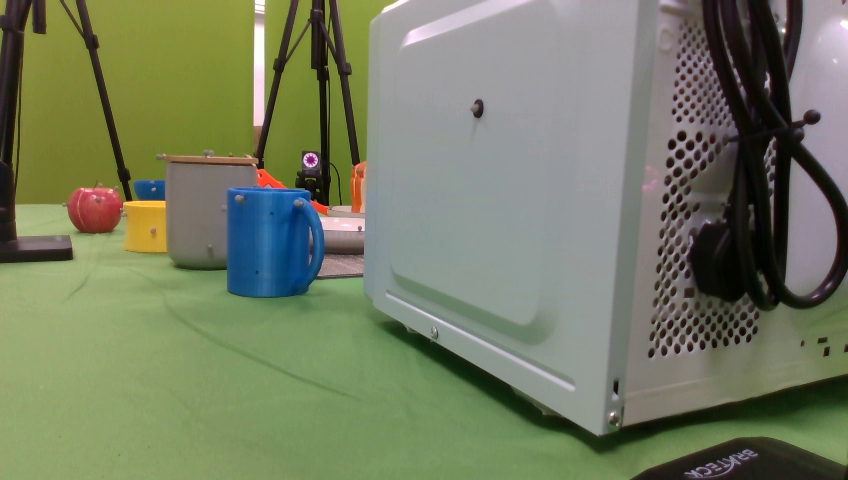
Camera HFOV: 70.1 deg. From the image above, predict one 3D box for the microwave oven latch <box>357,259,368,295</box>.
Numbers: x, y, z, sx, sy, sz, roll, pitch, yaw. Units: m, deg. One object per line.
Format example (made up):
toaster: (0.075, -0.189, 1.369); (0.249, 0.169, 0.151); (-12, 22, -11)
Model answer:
microwave oven latch: (-0.019, 0.031, 0.530); (0.079, 0.029, 0.030); (-1, 7, -27)

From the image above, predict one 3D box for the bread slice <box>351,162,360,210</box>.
bread slice: (-0.107, -0.112, 1.328); (0.107, 0.134, 0.018); (0, -2, -27)

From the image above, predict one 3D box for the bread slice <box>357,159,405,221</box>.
bread slice: (-0.090, -0.105, 1.277); (0.105, 0.131, 0.019); (0, 0, -23)

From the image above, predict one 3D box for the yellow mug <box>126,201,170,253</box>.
yellow mug: (-0.360, -0.019, 0.866); (0.130, 0.064, 0.100); (6, 9, 27)

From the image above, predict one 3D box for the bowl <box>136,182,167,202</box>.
bowl: (-0.497, -0.076, 1.221); (0.151, 0.077, 0.151); (2, 8, 0)

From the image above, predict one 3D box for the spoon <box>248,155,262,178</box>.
spoon: (-0.417, -0.150, 1.543); (0.042, 0.193, 0.021); (-3, -35, -34)

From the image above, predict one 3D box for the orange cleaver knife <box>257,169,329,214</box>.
orange cleaver knife: (-0.286, -0.082, 1.300); (0.212, 0.077, 0.012); (26, -6, -31)

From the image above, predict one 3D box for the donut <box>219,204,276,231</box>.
donut: (-0.316, -0.039, 1.083); (0.099, 0.048, 0.099); (2, 7, 0)

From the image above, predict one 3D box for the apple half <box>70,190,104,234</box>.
apple half: (-0.552, -0.047, 1.010); (0.053, 0.074, 0.081); (0, 10, 26)

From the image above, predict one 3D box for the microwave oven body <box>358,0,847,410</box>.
microwave oven body: (0.210, -0.051, 0.471); (0.444, 0.260, 0.324); (-1, 7, -28)

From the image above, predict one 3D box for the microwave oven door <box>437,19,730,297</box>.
microwave oven door: (0.181, -0.076, 0.618); (0.358, 0.243, 0.039); (-2, 8, -28)

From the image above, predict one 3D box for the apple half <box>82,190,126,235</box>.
apple half: (-0.516, -0.046, 0.994); (0.032, 0.081, 0.081); (0, 6, 26)

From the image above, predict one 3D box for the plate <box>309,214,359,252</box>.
plate: (-0.130, -0.011, 0.945); (0.208, 0.039, 0.207); (2, 8, 0)

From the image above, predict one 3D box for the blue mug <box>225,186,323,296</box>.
blue mug: (-0.148, 0.000, 0.618); (0.116, 0.106, 0.083); (7, 9, 33)

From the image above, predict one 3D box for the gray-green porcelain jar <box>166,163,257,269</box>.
gray-green porcelain jar: (-0.263, -0.031, 0.754); (0.106, 0.126, 0.106); (2, 7, 0)

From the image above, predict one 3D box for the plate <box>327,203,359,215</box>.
plate: (-0.102, -0.053, 1.299); (0.209, 0.038, 0.209); (2, 7, 0)

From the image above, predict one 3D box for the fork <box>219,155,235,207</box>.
fork: (-0.459, -0.134, 1.415); (0.028, 0.018, 0.207); (-2, -33, -25)

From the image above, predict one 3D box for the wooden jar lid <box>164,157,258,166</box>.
wooden jar lid: (-0.261, -0.093, 0.746); (0.108, 0.020, 0.108); (0, 9, 0)
